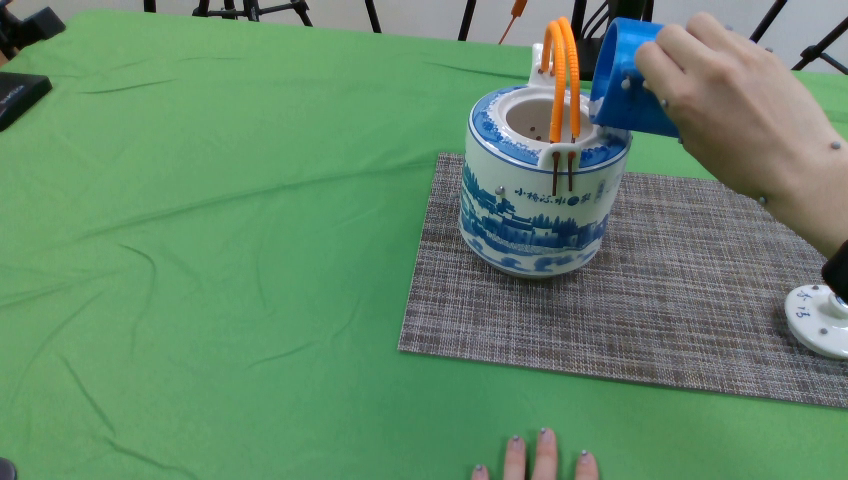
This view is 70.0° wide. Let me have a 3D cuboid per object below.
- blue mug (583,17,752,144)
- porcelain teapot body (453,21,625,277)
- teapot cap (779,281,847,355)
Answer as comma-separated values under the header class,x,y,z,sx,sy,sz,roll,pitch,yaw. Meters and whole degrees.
class,x,y,z,sx,sy,sz,roll,pitch,yaw
blue mug,0.185,-0.122,0.463,0.106,0.082,0.116,10,12,3
porcelain teapot body,0.104,-0.103,0.572,0.145,0.227,0.203,2,43,-2
teapot cap,0.364,0.064,0.541,0.085,0.044,0.084,3,42,-3
